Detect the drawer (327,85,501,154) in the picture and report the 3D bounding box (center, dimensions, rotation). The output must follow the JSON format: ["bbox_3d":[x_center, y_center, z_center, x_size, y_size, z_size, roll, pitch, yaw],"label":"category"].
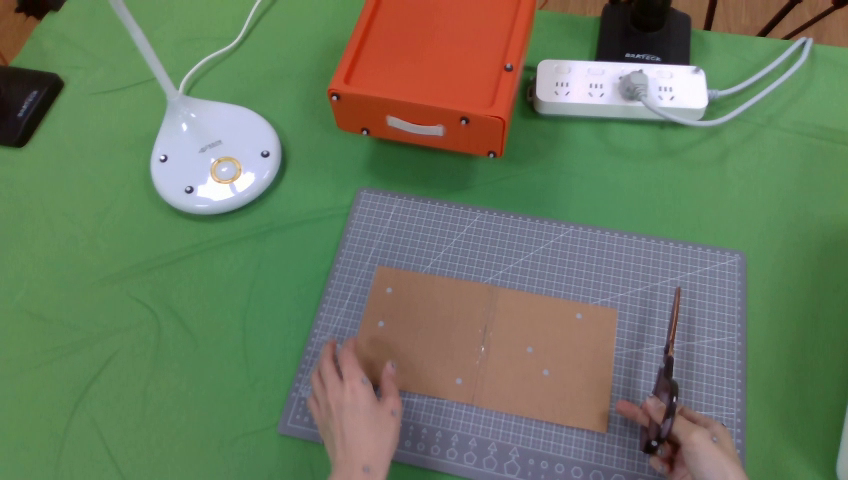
[{"bbox_3d":[0.013,-0.218,0.717,0.194,0.074,0.210,11,63,10],"label":"drawer"}]

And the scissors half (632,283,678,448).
[{"bbox_3d":[0.228,0.117,0.589,0.012,0.040,0.174,20,68,11],"label":"scissors half"}]

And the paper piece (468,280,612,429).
[{"bbox_3d":[0.124,0.115,0.630,0.135,0.004,0.135,11,64,9],"label":"paper piece"}]

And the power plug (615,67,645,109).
[{"bbox_3d":[0.247,-0.177,0.735,0.035,0.053,0.072,15,65,10],"label":"power plug"}]

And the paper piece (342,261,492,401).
[{"bbox_3d":[-0.006,0.093,0.649,0.135,0.009,0.137,9,65,11],"label":"paper piece"}]

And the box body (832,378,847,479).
[{"bbox_3d":[0.548,0.098,0.531,0.253,0.161,0.362,23,67,14],"label":"box body"}]

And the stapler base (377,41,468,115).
[{"bbox_3d":[-0.005,-0.200,0.730,0.129,0.024,0.041,40,88,23],"label":"stapler base"}]

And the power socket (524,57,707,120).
[{"bbox_3d":[0.242,-0.193,0.770,0.226,0.033,0.071,5,64,5],"label":"power socket"}]

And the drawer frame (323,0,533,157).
[{"bbox_3d":[0.012,-0.220,0.719,0.201,0.083,0.212,11,63,9],"label":"drawer frame"}]

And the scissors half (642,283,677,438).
[{"bbox_3d":[0.229,0.106,0.572,0.013,0.040,0.174,22,50,7],"label":"scissors half"}]

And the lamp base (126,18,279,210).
[{"bbox_3d":[-0.275,-0.150,0.692,0.160,0.182,0.177,-40,65,-16],"label":"lamp base"}]

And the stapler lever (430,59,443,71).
[{"bbox_3d":[-0.015,-0.208,0.706,0.117,0.040,0.027,40,88,24],"label":"stapler lever"}]
